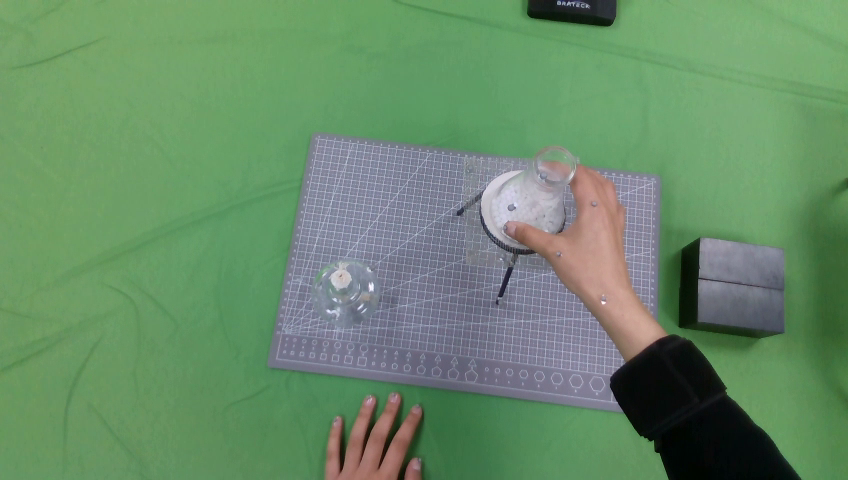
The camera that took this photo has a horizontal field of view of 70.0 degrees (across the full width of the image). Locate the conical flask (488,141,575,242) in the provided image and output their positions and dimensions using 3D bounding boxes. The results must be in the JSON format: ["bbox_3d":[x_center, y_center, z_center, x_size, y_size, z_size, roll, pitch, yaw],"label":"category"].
[{"bbox_3d":[0.104,-0.048,0.559,0.075,0.122,0.075,1,73,-3],"label":"conical flask"}]

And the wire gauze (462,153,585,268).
[{"bbox_3d":[0.101,-0.033,0.617,0.125,0.011,0.121,2,75,-3],"label":"wire gauze"}]

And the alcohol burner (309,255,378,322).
[{"bbox_3d":[-0.090,0.049,0.668,0.078,0.119,0.077,1,72,-3],"label":"alcohol burner"}]

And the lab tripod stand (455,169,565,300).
[{"bbox_3d":[0.101,-0.017,0.682,0.148,0.132,0.147,1,73,-2],"label":"lab tripod stand"}]
